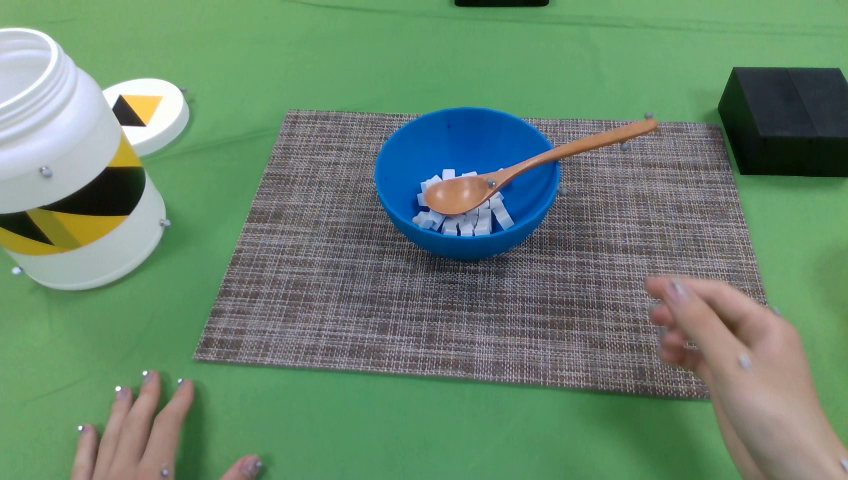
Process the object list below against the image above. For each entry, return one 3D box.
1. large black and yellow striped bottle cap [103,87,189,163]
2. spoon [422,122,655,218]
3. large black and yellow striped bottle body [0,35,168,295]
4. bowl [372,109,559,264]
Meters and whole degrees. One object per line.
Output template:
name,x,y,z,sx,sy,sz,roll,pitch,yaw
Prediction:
large black and yellow striped bottle cap,-0.315,-0.126,0.656,0.115,0.019,0.114,-1,51,1
spoon,0.091,-0.059,0.489,0.193,0.022,0.041,-20,48,11
large black and yellow striped bottle body,-0.305,-0.056,0.492,0.131,0.186,0.129,-2,51,2
bowl,0.035,-0.033,0.516,0.151,0.077,0.150,-1,52,2
